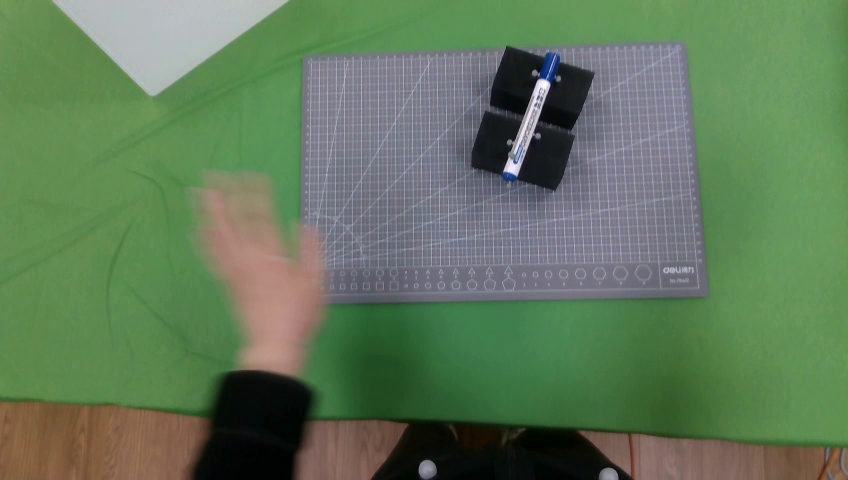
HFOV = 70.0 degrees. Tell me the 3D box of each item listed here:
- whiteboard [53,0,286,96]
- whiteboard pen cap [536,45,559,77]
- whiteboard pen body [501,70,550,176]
[{"bbox_3d":[-0.318,-0.349,0.633,0.217,0.308,0.142,-37,61,-3],"label":"whiteboard"},{"bbox_3d":[0.130,-0.189,0.645,0.018,0.018,0.033,19,85,6],"label":"whiteboard pen cap"},{"bbox_3d":[0.110,-0.134,0.637,0.017,0.017,0.140,20,84,6],"label":"whiteboard pen body"}]
